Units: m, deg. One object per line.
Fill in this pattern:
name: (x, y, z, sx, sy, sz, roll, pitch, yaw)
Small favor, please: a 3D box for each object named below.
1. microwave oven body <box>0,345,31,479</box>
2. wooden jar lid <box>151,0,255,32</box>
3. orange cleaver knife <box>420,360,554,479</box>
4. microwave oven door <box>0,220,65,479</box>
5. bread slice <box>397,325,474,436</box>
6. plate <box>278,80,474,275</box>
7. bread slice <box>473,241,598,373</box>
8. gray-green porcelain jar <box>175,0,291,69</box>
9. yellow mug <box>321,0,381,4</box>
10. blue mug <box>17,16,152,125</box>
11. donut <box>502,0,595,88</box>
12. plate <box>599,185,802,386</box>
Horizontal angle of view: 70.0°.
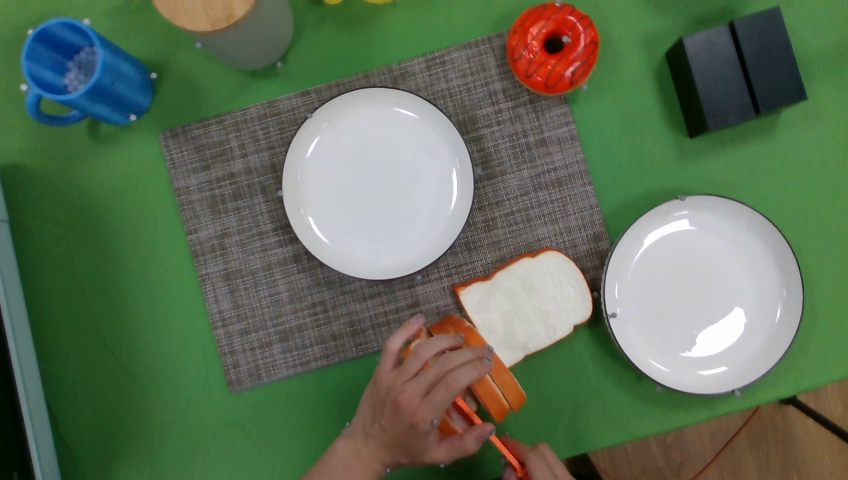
microwave oven body: (-0.592, 0.143, 0.558, 0.326, 0.260, 0.441, -13, 89, 1)
wooden jar lid: (-0.202, -0.244, 0.561, 0.108, 0.021, 0.108, 0, 87, 3)
orange cleaver knife: (0.071, 0.188, 0.589, 0.012, 0.076, 0.213, -47, 114, -11)
microwave oven door: (-0.440, 0.150, 0.548, 0.039, 0.244, 0.355, -14, 88, 2)
bread slice: (0.010, 0.141, 0.607, 0.019, 0.131, 0.105, -38, 87, 8)
plate: (-0.050, -0.066, 0.655, 0.207, 0.039, 0.207, 0, 89, 2)
bread slice: (0.122, 0.058, 0.609, 0.134, 0.018, 0.106, -23, 83, -38)
gray-green porcelain jar: (-0.200, -0.241, 0.623, 0.106, 0.126, 0.105, 0, 88, 2)
yellow mug: (-0.068, -0.307, 0.650, 0.100, 0.064, 0.131, 42, 91, 2)
blue mug: (-0.364, -0.163, 0.637, 0.116, 0.106, 0.082, -42, 87, 1)
donut: (0.133, -0.211, 0.648, 0.099, 0.048, 0.099, 0, 90, 2)
plate: (0.288, 0.048, 0.645, 0.209, 0.038, 0.209, 0, 89, 2)
